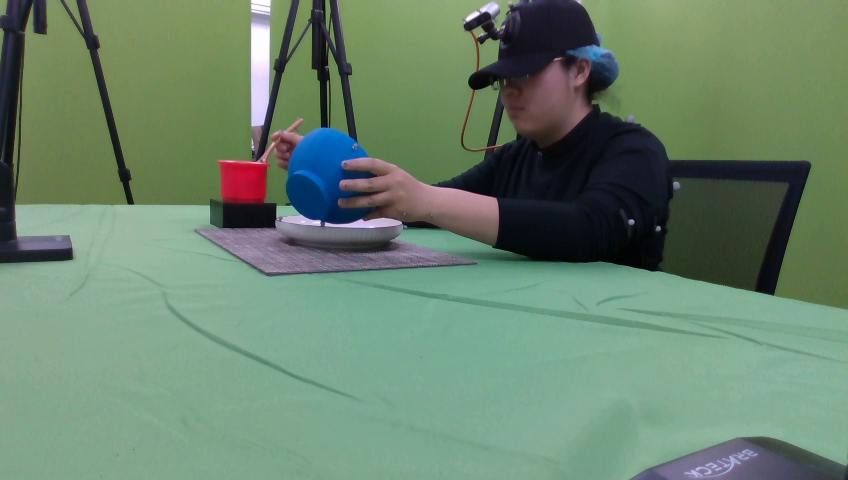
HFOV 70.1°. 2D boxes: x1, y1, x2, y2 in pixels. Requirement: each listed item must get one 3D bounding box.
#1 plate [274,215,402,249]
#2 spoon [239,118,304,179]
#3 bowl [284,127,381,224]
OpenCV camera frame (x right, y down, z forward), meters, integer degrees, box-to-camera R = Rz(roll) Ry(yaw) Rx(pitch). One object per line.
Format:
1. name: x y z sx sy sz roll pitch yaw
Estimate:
1. plate: -0.140 -0.015 0.993 0.208 0.039 0.207 3 8 0
2. spoon: -0.294 -0.182 1.187 0.041 0.022 0.194 11 54 34
3. bowl: -0.146 -0.078 0.872 0.150 0.151 0.077 7 34 33
